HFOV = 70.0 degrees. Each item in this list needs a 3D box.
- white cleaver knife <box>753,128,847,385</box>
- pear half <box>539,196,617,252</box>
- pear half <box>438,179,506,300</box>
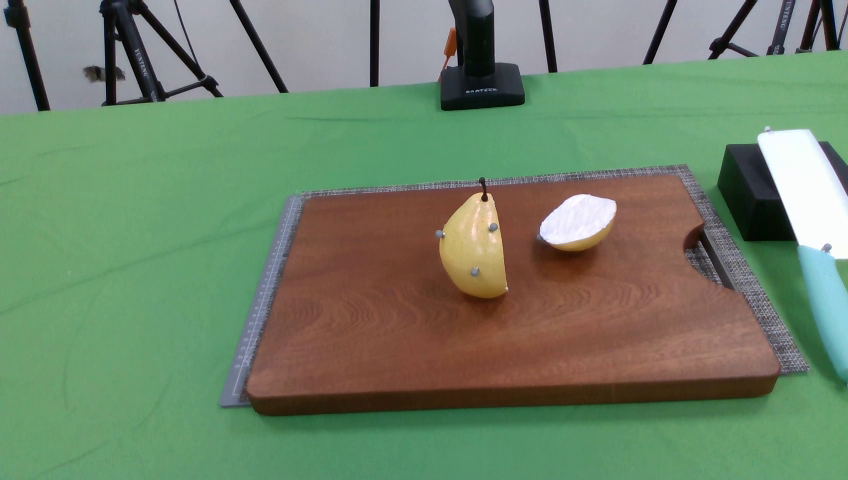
[{"bbox_3d":[0.349,-0.003,0.523,0.066,0.022,0.284,-1,53,10],"label":"white cleaver knife"},{"bbox_3d":[0.144,-0.011,0.559,0.070,0.031,0.087,-10,23,20],"label":"pear half"},{"bbox_3d":[0.038,-0.002,0.502,0.056,0.111,0.075,-9,35,-3],"label":"pear half"}]
